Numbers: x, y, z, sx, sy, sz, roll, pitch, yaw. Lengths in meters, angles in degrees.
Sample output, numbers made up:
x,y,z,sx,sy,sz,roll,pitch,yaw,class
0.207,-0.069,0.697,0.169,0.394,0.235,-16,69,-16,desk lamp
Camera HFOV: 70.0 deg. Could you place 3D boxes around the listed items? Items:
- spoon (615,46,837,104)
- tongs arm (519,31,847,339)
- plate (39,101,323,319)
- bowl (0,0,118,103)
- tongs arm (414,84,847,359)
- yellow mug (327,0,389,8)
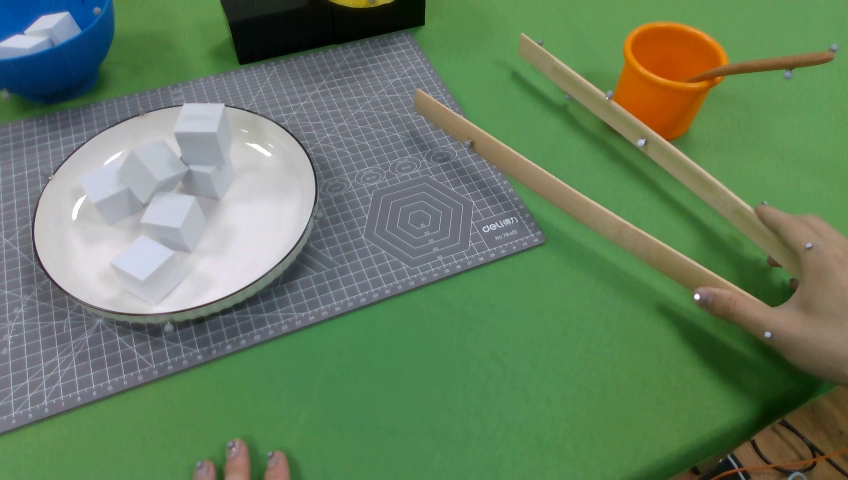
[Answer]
x,y,z,sx,sy,sz,roll,pitch,yaw,class
0.242,-0.140,0.512,0.041,0.192,0.022,-39,109,-22,spoon
0.196,-0.063,0.513,0.051,0.027,0.381,-29,61,-26,tongs arm
-0.183,-0.026,0.478,0.208,0.039,0.205,1,55,-1,plate
-0.352,-0.181,0.559,0.151,0.077,0.150,1,55,-1,bowl
0.139,-0.026,0.480,0.385,0.028,0.028,36,54,20,tongs arm
-0.075,-0.277,0.584,0.131,0.064,0.099,-33,62,-22,yellow mug
